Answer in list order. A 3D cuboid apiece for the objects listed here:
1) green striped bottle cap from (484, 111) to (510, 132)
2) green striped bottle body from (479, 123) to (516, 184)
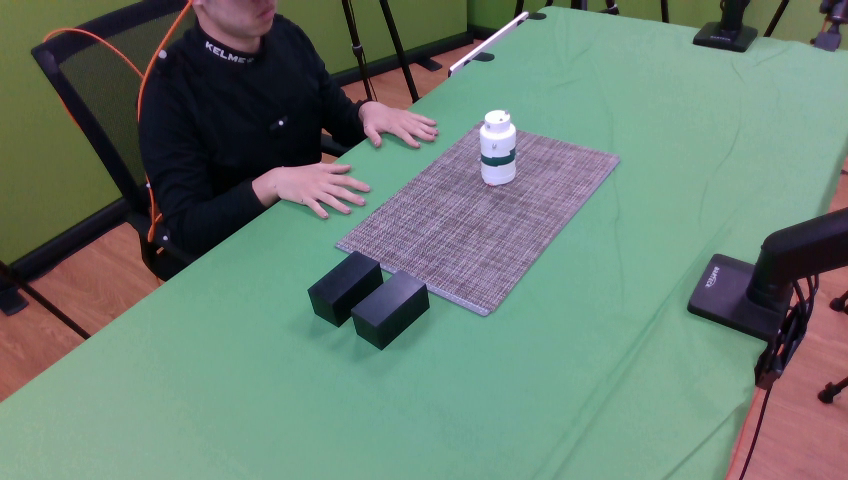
[{"bbox_3d":[0.123,-0.201,1.024,0.044,0.020,0.044,-3,39,3],"label":"green striped bottle cap"},{"bbox_3d":[0.129,-0.162,1.058,0.063,0.120,0.063,-4,41,4],"label":"green striped bottle body"}]
